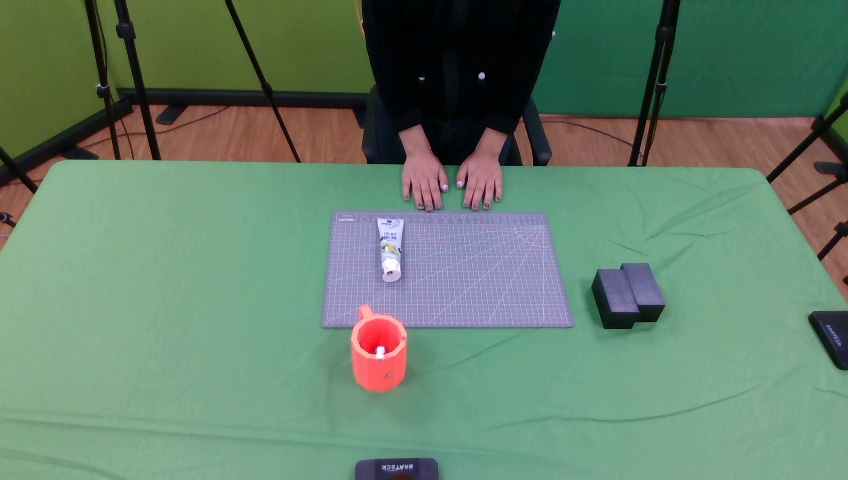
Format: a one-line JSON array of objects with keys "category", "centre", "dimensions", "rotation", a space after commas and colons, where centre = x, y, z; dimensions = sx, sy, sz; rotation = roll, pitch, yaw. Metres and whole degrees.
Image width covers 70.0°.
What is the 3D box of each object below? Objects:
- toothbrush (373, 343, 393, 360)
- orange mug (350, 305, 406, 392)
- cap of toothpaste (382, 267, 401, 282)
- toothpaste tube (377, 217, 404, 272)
[{"category": "toothbrush", "centre": [-0.062, 0.167, 0.925], "dimensions": [0.014, 0.182, 0.016], "rotation": [-19, 84, 0]}, {"category": "orange mug", "centre": [-0.080, 0.168, 0.978], "dimensions": [0.083, 0.101, 0.125], "rotation": [-16, 54, -18]}, {"category": "cap of toothpaste", "centre": [-0.060, 0.063, 1.119], "dimensions": [0.037, 0.037, 0.011], "rotation": [-9, 50, -12]}, {"category": "toothpaste tube", "centre": [-0.063, 0.008, 1.179], "dimensions": [0.055, 0.034, 0.164], "rotation": [5, 42, -9]}]
